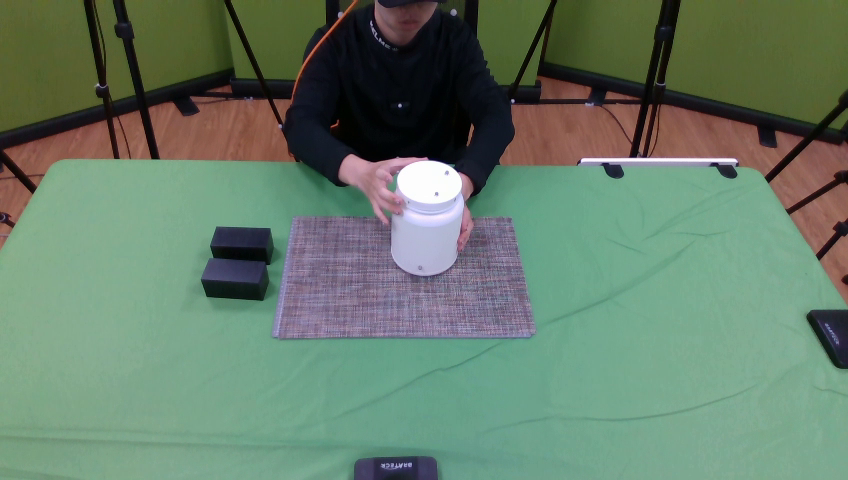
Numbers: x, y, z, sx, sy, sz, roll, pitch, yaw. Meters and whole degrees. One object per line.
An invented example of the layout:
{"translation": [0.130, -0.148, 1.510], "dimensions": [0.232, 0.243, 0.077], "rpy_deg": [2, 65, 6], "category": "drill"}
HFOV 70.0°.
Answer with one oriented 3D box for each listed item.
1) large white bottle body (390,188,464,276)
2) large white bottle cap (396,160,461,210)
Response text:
{"translation": [0.004, -0.037, 1.116], "dimensions": [0.131, 0.185, 0.130], "rpy_deg": [2, 46, -2], "category": "large white bottle body"}
{"translation": [0.008, -0.097, 1.054], "dimensions": [0.115, 0.018, 0.114], "rpy_deg": [2, 46, -2], "category": "large white bottle cap"}
